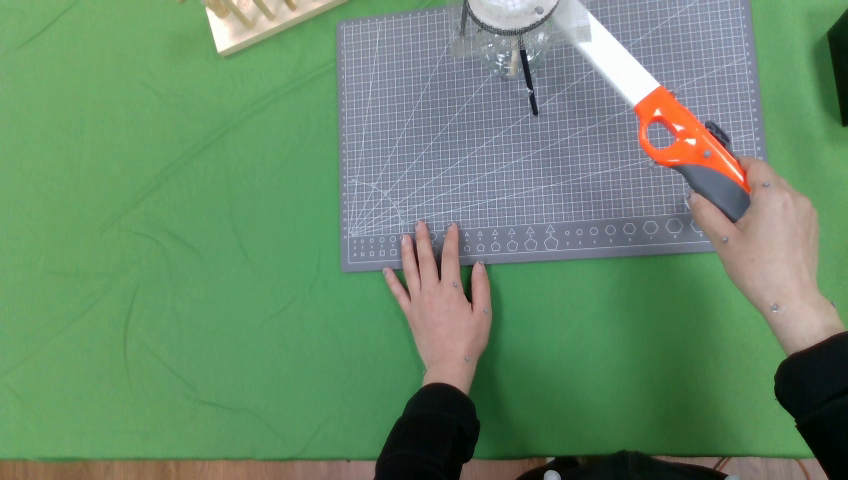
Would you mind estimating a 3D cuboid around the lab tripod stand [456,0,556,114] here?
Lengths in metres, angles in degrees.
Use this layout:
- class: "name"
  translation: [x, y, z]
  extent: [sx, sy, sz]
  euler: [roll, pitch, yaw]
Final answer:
- class: "lab tripod stand"
  translation: [0.092, -0.216, 0.607]
  extent: [0.148, 0.132, 0.148]
  euler: [-1, 83, 11]

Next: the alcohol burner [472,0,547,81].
- class: "alcohol burner"
  translation: [0.086, -0.211, 0.618]
  extent: [0.078, 0.119, 0.077]
  euler: [-1, 82, 11]

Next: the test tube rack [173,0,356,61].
- class: "test tube rack"
  translation: [-0.160, -0.301, 0.702]
  extent: [0.242, 0.085, 0.066]
  euler: [-21, 78, 9]

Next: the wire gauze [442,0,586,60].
- class: "wire gauze"
  translation: [0.077, -0.225, 0.544]
  extent: [0.125, 0.011, 0.121]
  euler: [-4, 85, 9]

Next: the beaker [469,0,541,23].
- class: "beaker"
  translation: [0.061, -0.232, 0.498]
  extent: [0.083, 0.101, 0.074]
  euler: [9, 85, 14]

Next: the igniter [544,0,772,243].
- class: "igniter"
  translation: [0.198, -0.113, 0.525]
  extent: [0.057, 0.025, 0.274]
  euler: [-39, 74, 10]

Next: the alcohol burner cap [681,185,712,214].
- class: "alcohol burner cap"
  translation: [0.273, -0.045, 0.593]
  extent: [0.034, 0.048, 0.033]
  euler: [-2, 82, 12]
